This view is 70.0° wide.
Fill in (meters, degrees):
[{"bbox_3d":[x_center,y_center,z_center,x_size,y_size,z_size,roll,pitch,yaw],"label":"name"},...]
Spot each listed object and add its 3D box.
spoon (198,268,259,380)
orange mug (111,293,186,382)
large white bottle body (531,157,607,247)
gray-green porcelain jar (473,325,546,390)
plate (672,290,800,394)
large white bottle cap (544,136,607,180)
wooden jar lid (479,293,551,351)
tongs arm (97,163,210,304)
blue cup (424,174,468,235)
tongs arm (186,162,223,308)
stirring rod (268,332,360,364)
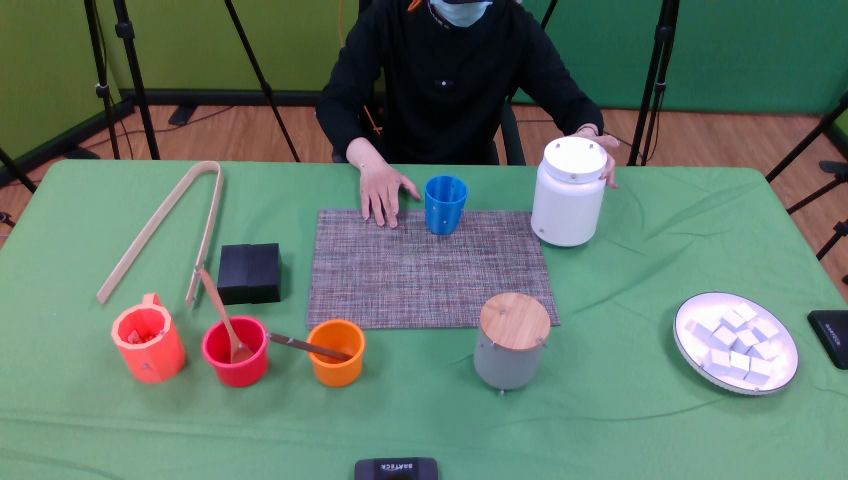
[{"bbox_3d":[-0.313,0.133,0.962,0.041,0.021,0.194,-24,96,-22],"label":"spoon"},{"bbox_3d":[-0.435,0.149,0.969,0.083,0.101,0.125,-5,51,-8],"label":"orange mug"},{"bbox_3d":[0.281,-0.092,1.177,0.130,0.185,0.130,-1,44,1],"label":"large white bottle body"},{"bbox_3d":[0.135,0.170,0.969,0.106,0.127,0.105,2,46,-2],"label":"gray-green porcelain jar"},{"bbox_3d":[0.533,0.178,1.050,0.208,0.039,0.206,2,46,-2],"label":"plate"},{"bbox_3d":[0.279,-0.153,1.117,0.115,0.018,0.114,-1,44,1],"label":"large white bottle cap"},{"bbox_3d":[0.137,0.127,0.925,0.108,0.021,0.107,1,47,-1],"label":"wooden jar lid"},{"bbox_3d":[-0.520,-0.028,1.183,0.028,0.028,0.385,5,45,12],"label":"tongs arm"},{"bbox_3d":[0.039,-0.065,1.201,0.093,0.101,0.092,3,46,-3],"label":"blue cup"},{"bbox_3d":[-0.436,-0.024,1.181,0.051,0.026,0.382,-2,45,0],"label":"tongs arm"},{"bbox_3d":[-0.167,0.169,0.941,0.177,0.006,0.014,26,26,-41],"label":"stirring rod"}]
